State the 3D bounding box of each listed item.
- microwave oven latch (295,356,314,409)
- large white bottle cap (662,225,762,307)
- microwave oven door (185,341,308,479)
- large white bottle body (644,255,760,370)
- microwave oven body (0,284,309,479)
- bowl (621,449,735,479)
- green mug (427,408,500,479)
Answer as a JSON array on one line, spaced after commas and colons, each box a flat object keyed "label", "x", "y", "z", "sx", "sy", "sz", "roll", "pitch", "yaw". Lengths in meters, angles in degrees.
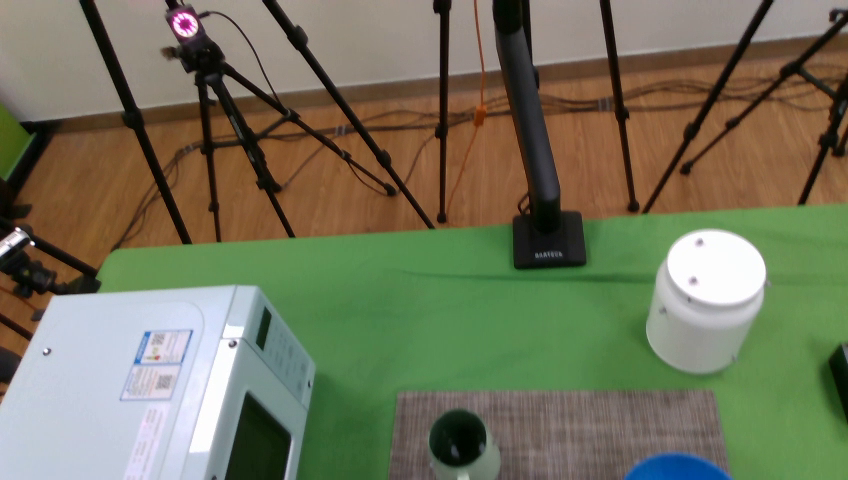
[{"label": "microwave oven latch", "x": -0.187, "y": 0.217, "z": 0.925, "sx": 0.030, "sy": 0.030, "sz": 0.078, "roll": -4, "pitch": 54, "yaw": 10}, {"label": "large white bottle cap", "x": 0.360, "y": 0.031, "z": 0.758, "sx": 0.115, "sy": 0.018, "sz": 0.113, "roll": -6, "pitch": 53, "yaw": 8}, {"label": "microwave oven door", "x": -0.218, "y": 0.331, "z": 0.717, "sx": 0.039, "sy": 0.246, "sz": 0.352, "roll": -5, "pitch": 53, "yaw": 10}, {"label": "large white bottle body", "x": 0.375, "y": 0.082, "z": 0.825, "sx": 0.130, "sy": 0.186, "sz": 0.129, "roll": -6, "pitch": 53, "yaw": 9}, {"label": "microwave oven body", "x": -0.359, "y": 0.312, "z": 0.770, "sx": 0.325, "sy": 0.263, "sz": 0.437, "roll": -4, "pitch": 54, "yaw": 9}, {"label": "bowl", "x": 0.301, "y": 0.334, "z": 0.715, "sx": 0.151, "sy": 0.077, "sz": 0.150, "roll": -7, "pitch": 52, "yaw": 9}, {"label": "green mug", "x": 0.053, "y": 0.292, "z": 0.788, "sx": 0.092, "sy": 0.106, "sz": 0.124, "roll": -10, "pitch": 52, "yaw": 5}]
